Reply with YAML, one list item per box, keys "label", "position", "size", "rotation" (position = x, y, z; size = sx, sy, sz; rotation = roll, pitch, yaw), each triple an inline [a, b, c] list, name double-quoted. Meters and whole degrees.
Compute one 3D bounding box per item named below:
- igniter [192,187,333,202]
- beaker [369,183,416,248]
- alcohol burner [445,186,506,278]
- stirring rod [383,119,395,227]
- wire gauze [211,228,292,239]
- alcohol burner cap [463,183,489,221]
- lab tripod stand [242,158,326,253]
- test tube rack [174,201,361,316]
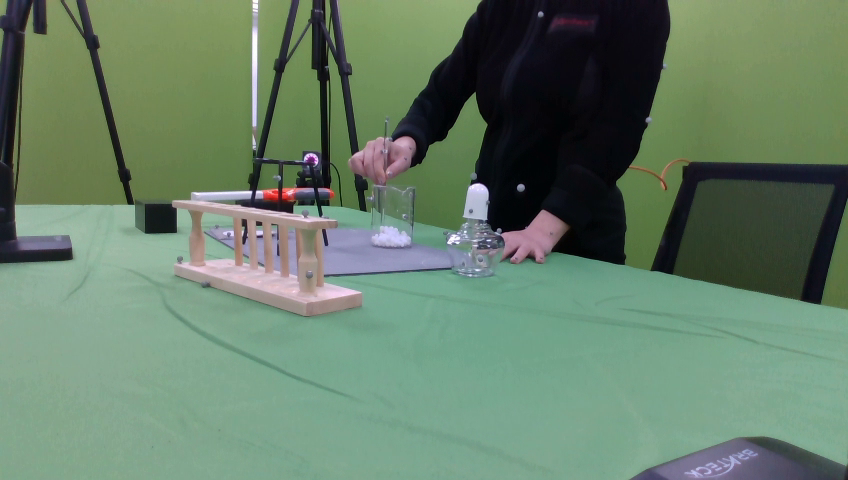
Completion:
- label: "igniter"
  position: [-0.316, -0.090, 1.213]
  size: [0.278, 0.025, 0.057]
  rotation: [-5, 13, -31]
- label: "beaker"
  position: [-0.050, -0.039, 0.971]
  size: [0.074, 0.100, 0.083]
  rotation: [-1, 9, -25]
- label: "alcohol burner"
  position: [0.066, -0.013, 0.771]
  size: [0.078, 0.119, 0.078]
  rotation: [0, 7, 0]
- label: "stirring rod"
  position: [-0.056, -0.106, 0.976]
  size: [0.014, 0.176, 0.006]
  rotation: [12, 21, 39]
- label: "wire gauze"
  position: [-0.298, -0.013, 1.039]
  size: [0.122, 0.011, 0.124]
  rotation: [-2, 6, -27]
- label: "alcohol burner cap"
  position: [0.067, -0.048, 0.765]
  size: [0.034, 0.048, 0.034]
  rotation: [5, 5, 0]
- label: "lab tripod stand"
  position: [-0.207, -0.054, 0.895]
  size: [0.148, 0.131, 0.148]
  rotation: [3, 5, 0]
- label: "test tube rack"
  position: [-0.169, 0.010, 0.622]
  size: [0.241, 0.085, 0.067]
  rotation: [9, 9, 41]
